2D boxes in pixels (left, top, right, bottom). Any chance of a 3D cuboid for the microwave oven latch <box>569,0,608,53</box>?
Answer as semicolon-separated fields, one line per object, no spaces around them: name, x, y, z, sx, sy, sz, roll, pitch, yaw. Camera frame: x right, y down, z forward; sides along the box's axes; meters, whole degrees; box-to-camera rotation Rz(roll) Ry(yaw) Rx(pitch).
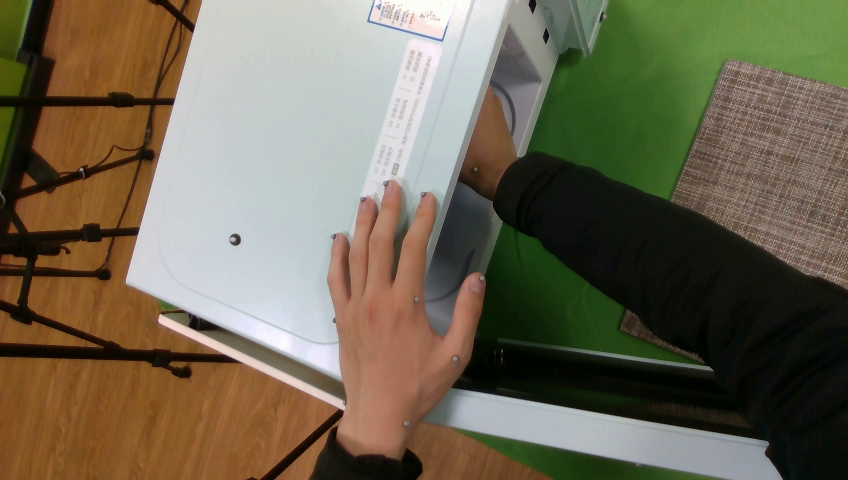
microwave oven latch;0.174;-0.240;0.633;0.030;0.029;0.079;20;97;18

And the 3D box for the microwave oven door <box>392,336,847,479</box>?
microwave oven door;0.179;0.138;0.524;0.354;0.245;0.039;4;90;20

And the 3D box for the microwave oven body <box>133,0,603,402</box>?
microwave oven body;-0.044;-0.120;0.608;0.324;0.261;0.442;19;97;18
